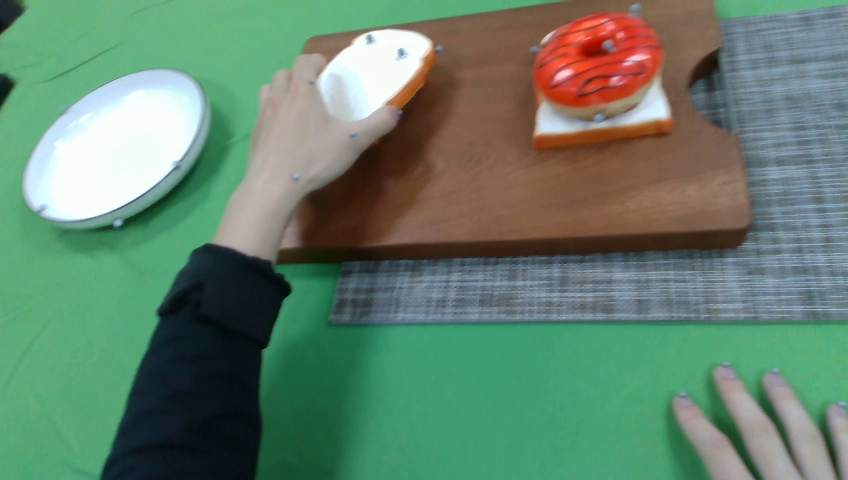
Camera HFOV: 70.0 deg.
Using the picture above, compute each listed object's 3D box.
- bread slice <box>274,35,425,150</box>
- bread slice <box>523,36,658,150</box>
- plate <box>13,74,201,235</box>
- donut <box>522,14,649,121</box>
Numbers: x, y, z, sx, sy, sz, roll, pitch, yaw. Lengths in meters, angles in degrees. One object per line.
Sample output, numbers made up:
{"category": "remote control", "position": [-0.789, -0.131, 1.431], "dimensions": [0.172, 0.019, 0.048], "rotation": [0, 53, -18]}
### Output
{"category": "bread slice", "position": [-0.061, -0.138, 0.549], "dimensions": [0.106, 0.018, 0.133], "rotation": [14, 60, 29]}
{"category": "bread slice", "position": [0.133, -0.134, 0.512], "dimensions": [0.105, 0.019, 0.130], "rotation": [-5, 58, 12]}
{"category": "plate", "position": [-0.327, -0.089, 0.640], "dimensions": [0.209, 0.038, 0.207], "rotation": [-8, 56, 12]}
{"category": "donut", "position": [0.126, -0.138, 0.479], "dimensions": [0.099, 0.049, 0.098], "rotation": [-9, 56, 14]}
